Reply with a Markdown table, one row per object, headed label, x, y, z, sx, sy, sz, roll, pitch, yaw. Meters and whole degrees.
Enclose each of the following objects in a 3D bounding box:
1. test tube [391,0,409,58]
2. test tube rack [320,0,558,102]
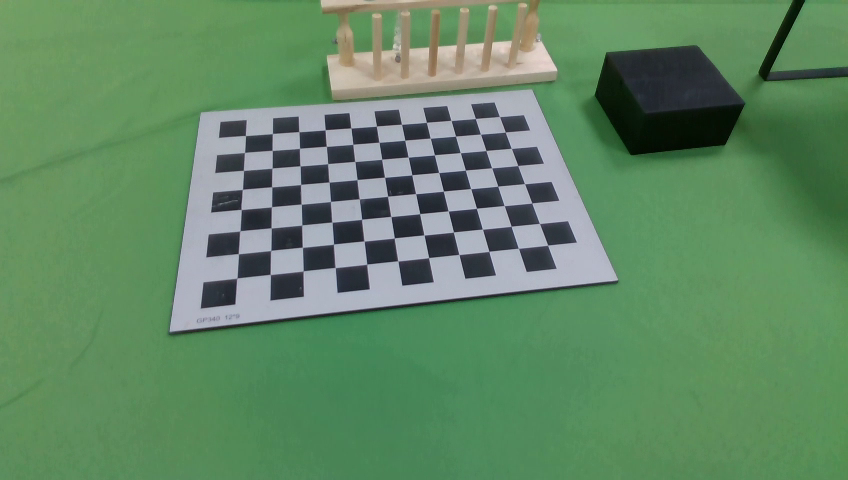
| label | x | y | z | sx | sy | sz | roll | pitch | yaw |
| --- | --- | --- | --- | --- | --- | --- | --- | --- | --- |
| test tube | -0.021 | -0.249 | 0.602 | 0.017 | 0.151 | 0.017 | 4 | 49 | -4 |
| test tube rack | 0.019 | -0.209 | 0.635 | 0.243 | 0.086 | 0.066 | -7 | 49 | -8 |
